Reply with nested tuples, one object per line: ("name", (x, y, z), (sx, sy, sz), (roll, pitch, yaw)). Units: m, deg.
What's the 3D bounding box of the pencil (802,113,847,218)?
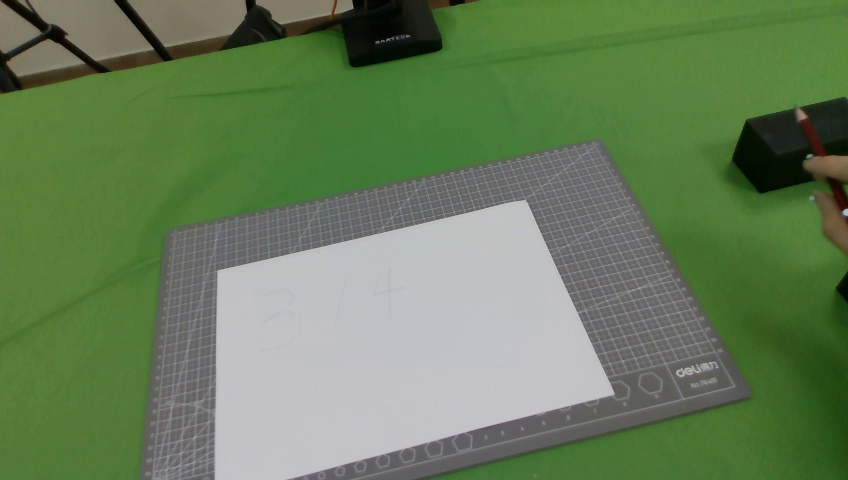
("pencil", (0.285, -0.021, 0.404), (0.012, 0.012, 0.192), (-2, 53, 6))
